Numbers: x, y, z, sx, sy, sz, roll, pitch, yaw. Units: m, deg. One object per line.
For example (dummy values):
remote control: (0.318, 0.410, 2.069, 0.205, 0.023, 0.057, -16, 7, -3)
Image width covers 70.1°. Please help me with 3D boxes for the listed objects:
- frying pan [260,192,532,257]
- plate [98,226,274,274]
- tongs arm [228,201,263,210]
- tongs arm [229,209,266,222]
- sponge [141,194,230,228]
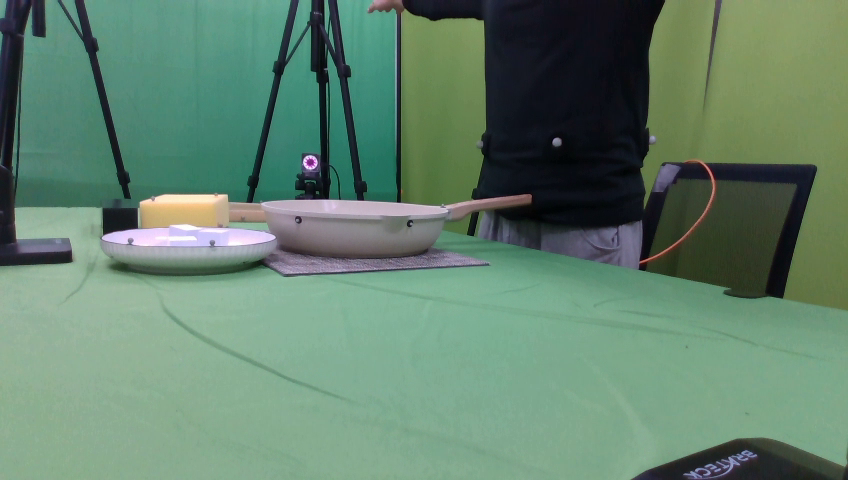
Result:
frying pan: (-0.017, -0.043, 1.006, 0.490, 0.102, 0.305, -11, 13, -26)
plate: (-0.301, 0.012, 0.778, 0.208, 0.039, 0.207, 2, 7, 0)
tongs arm: (-0.306, -0.070, 1.430, 0.386, 0.026, 0.050, 2, 8, -15)
tongs arm: (-0.280, -0.055, 1.355, 0.389, 0.028, 0.028, -1, 6, -28)
sponge: (-0.425, -0.047, 1.097, 0.118, 0.061, 0.206, -2, 8, -12)
